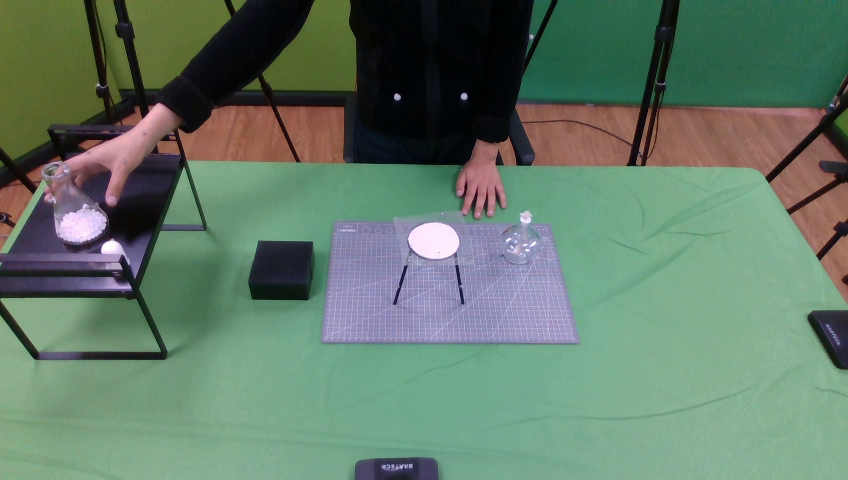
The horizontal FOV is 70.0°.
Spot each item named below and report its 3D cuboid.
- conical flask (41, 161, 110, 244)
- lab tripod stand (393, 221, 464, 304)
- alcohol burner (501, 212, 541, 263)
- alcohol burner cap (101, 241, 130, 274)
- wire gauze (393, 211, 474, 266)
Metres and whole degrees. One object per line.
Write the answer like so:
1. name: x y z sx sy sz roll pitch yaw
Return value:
1. conical flask: -0.521 -0.058 0.894 0.075 0.122 0.075 2 46 -2
2. lab tripod stand: 0.010 0.045 1.075 0.148 0.132 0.147 2 48 -2
3. alcohol burner: 0.187 -0.011 1.156 0.078 0.120 0.077 2 48 -2
4. alcohol burner cap: -0.449 0.022 0.878 0.034 0.048 0.033 2 45 -2
5. wire gauze: 0.015 -0.003 1.028 0.125 0.011 0.120 -4 47 -7
